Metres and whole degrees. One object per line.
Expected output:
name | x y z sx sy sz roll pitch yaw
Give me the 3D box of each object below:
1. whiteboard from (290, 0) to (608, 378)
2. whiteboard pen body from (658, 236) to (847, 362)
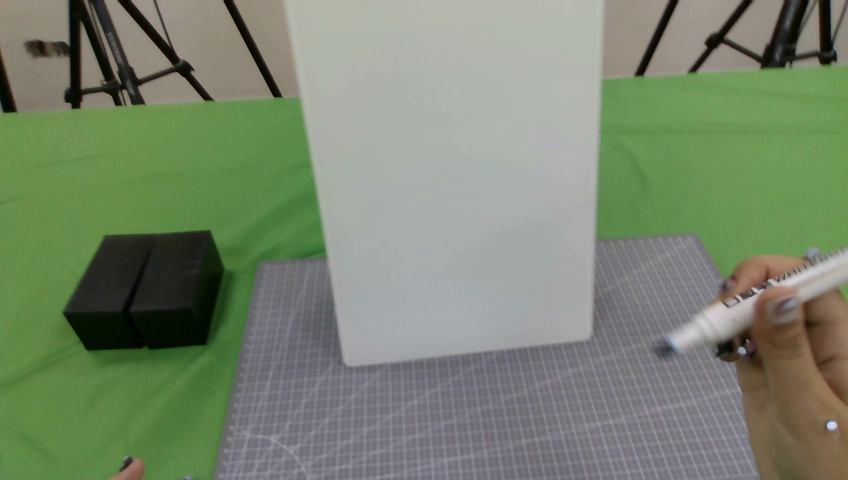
whiteboard | 0.024 -0.060 0.520 0.217 0.307 0.143 -5 22 -3
whiteboard pen body | 0.167 0.019 0.268 0.141 0.017 0.017 -31 42 8
